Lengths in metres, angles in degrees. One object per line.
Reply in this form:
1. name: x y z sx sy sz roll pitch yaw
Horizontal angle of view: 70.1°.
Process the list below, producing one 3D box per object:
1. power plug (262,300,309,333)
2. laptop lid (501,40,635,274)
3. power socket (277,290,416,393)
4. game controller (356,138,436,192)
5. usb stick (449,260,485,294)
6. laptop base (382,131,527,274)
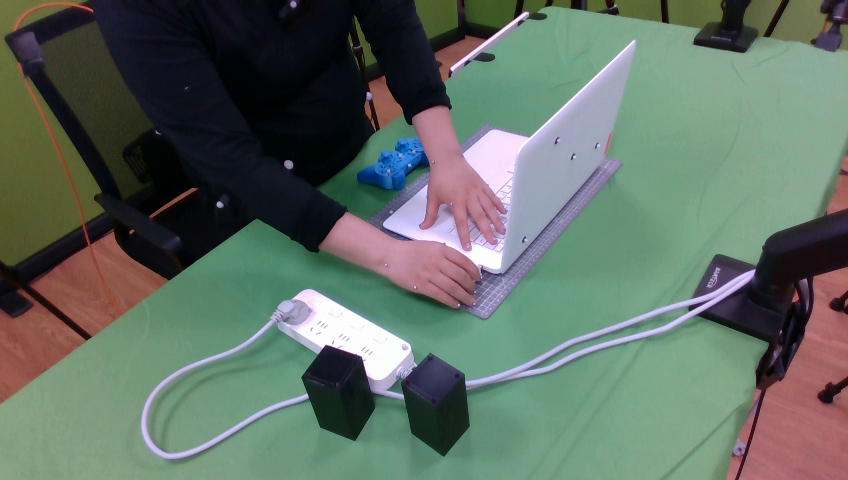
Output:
1. power plug: -0.192 0.110 0.829 0.073 0.053 0.035 -35 47 -24
2. laptop lid: 0.219 -0.127 0.904 0.013 0.242 0.358 28 50 25
3. power socket: -0.113 0.133 0.820 0.225 0.033 0.072 24 48 32
4. game controller: -0.047 -0.149 1.135 0.096 0.052 0.155 27 51 28
5. usb stick: 0.066 0.050 0.891 0.059 0.027 0.021 -42 46 -13
6. laptop base: 0.125 -0.080 1.048 0.233 0.023 0.355 20 47 33
